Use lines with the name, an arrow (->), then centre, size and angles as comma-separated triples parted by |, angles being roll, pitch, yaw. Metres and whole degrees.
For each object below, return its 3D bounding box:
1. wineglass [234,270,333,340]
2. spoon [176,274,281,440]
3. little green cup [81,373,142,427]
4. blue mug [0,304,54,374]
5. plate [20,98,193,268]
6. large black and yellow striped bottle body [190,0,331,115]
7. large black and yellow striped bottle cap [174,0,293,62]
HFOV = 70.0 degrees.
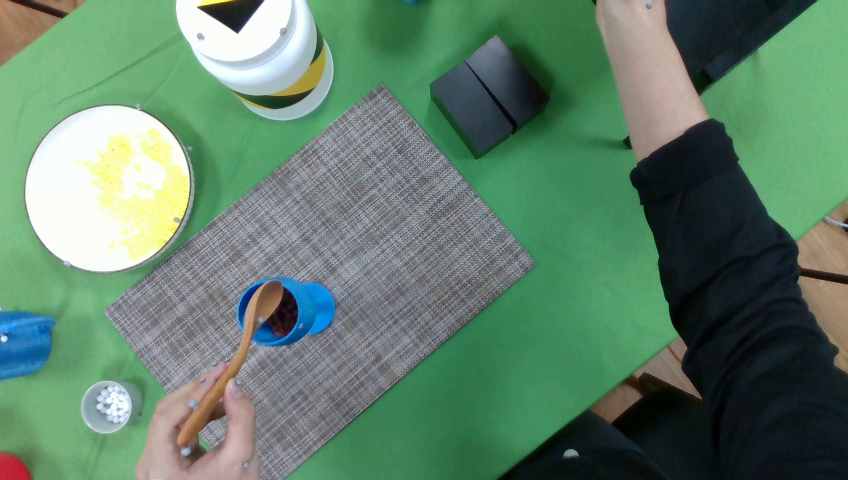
wineglass -> -0.148, 0.070, 0.664 | 0.074, 0.172, 0.073 | 0, 86, 2
spoon -> -0.151, 0.085, 0.487 | 0.021, 0.192, 0.042 | 11, 119, -3
little green cup -> -0.376, 0.191, 0.734 | 0.061, 0.038, 0.061 | 0, 87, 1
blue mug -> -0.496, 0.111, 0.708 | 0.116, 0.106, 0.082 | -26, 86, -1
plate -> -0.386, -0.069, 0.750 | 0.209, 0.038, 0.208 | 0, 87, 1
large black and yellow striped bottle body -> -0.184, -0.228, 0.681 | 0.131, 0.184, 0.130 | 0, 86, 2
large black and yellow striped bottle cap -> -0.188, -0.234, 0.598 | 0.115, 0.019, 0.114 | 0, 85, 1
